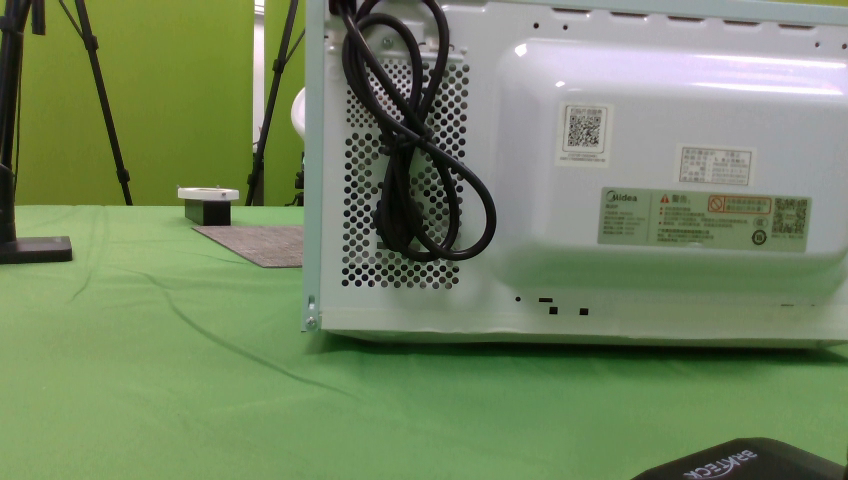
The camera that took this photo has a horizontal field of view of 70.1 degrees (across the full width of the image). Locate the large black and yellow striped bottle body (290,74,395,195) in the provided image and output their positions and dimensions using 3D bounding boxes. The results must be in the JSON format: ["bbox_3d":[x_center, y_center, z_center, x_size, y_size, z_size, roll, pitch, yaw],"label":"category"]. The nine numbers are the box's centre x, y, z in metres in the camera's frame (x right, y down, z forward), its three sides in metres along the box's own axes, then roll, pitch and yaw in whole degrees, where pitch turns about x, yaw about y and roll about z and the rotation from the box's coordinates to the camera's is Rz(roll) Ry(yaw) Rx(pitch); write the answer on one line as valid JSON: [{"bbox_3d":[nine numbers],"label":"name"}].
[{"bbox_3d":[-0.125,-0.168,1.007,0.130,0.130,0.184,5,-26,20],"label":"large black and yellow striped bottle body"}]

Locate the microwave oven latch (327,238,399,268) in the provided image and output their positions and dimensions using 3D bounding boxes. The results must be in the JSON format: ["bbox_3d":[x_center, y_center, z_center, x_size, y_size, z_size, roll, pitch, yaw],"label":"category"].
[{"bbox_3d":[-0.069,0.015,0.694,0.079,0.029,0.030,3,7,-3],"label":"microwave oven latch"}]

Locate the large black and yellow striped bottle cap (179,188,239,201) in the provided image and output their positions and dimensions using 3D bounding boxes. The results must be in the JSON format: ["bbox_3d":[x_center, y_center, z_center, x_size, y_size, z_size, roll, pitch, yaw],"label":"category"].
[{"bbox_3d":[-0.434,-0.093,1.226,0.115,0.019,0.115,3,9,0],"label":"large black and yellow striped bottle cap"}]

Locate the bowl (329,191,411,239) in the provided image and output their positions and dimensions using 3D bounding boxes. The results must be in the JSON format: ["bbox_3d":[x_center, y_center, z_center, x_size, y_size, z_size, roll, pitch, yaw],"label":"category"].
[{"bbox_3d":[-0.100,-0.046,1.104,0.151,0.077,0.151,3,8,0],"label":"bowl"}]

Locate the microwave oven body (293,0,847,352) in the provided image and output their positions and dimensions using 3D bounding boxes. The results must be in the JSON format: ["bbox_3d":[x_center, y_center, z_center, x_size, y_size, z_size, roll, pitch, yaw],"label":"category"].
[{"bbox_3d":[0.122,-0.055,0.550,0.442,0.260,0.325,3,7,-5],"label":"microwave oven body"}]

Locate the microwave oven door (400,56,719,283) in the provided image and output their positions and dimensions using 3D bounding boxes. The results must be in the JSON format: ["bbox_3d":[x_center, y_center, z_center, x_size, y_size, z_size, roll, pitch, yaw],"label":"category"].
[{"bbox_3d":[0.155,-0.077,0.698,0.356,0.243,0.039,2,8,-5],"label":"microwave oven door"}]
